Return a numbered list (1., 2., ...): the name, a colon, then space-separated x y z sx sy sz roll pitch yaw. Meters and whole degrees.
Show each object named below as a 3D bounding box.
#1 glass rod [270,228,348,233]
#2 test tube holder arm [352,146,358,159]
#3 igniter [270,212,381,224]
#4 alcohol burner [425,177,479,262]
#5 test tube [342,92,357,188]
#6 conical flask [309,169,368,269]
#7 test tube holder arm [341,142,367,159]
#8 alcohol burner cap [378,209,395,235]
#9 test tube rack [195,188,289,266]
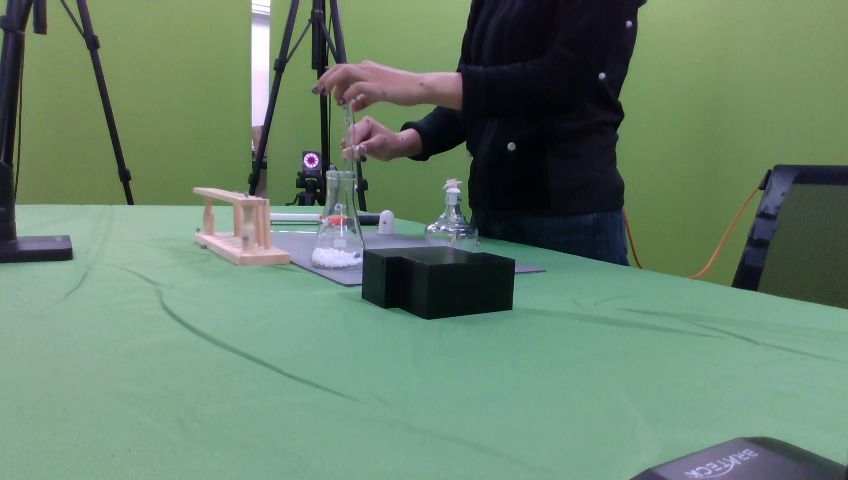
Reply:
1. glass rod: -0.235 -0.017 1.105 0.201 0.008 0.008 1 7 -26
2. test tube holder arm: -0.111 -0.143 0.982 0.010 0.015 0.087 4 14 -7
3. igniter: -0.213 -0.048 1.278 0.278 0.025 0.057 -1 -2 -25
4. alcohol burner: 0.040 -0.029 0.853 0.078 0.119 0.078 2 9 0
5. test tube: -0.118 -0.157 0.954 0.017 0.150 0.017 -2 9 1
6. conical flask: -0.107 -0.028 0.762 0.075 0.122 0.075 2 7 0
7. test tube holder arm: -0.117 -0.154 1.026 0.013 0.015 0.178 7 14 2
8. alcohol burner cap: -0.070 -0.035 1.144 0.034 0.048 0.034 2 8 0
9. test tube rack: -0.266 -0.025 0.864 0.067 0.085 0.241 -2 8 -33
